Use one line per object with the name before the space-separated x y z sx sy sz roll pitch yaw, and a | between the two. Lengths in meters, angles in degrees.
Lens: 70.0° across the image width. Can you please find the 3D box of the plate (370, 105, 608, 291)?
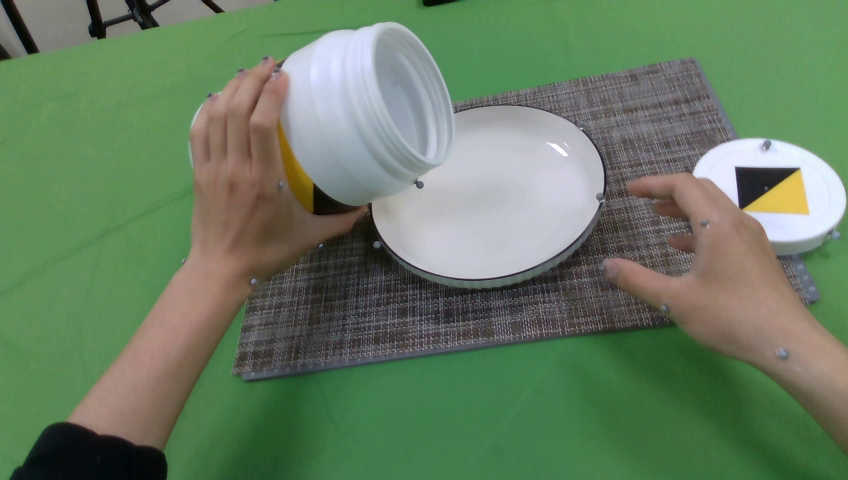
plate | 0.057 -0.038 0.539 0.207 0.039 0.205 -7 51 9

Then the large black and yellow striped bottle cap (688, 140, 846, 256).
large black and yellow striped bottle cap | 0.278 -0.037 0.494 0.115 0.019 0.114 -4 53 6

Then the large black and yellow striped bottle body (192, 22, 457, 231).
large black and yellow striped bottle body | -0.078 -0.088 0.490 0.183 0.132 0.129 -14 47 30
